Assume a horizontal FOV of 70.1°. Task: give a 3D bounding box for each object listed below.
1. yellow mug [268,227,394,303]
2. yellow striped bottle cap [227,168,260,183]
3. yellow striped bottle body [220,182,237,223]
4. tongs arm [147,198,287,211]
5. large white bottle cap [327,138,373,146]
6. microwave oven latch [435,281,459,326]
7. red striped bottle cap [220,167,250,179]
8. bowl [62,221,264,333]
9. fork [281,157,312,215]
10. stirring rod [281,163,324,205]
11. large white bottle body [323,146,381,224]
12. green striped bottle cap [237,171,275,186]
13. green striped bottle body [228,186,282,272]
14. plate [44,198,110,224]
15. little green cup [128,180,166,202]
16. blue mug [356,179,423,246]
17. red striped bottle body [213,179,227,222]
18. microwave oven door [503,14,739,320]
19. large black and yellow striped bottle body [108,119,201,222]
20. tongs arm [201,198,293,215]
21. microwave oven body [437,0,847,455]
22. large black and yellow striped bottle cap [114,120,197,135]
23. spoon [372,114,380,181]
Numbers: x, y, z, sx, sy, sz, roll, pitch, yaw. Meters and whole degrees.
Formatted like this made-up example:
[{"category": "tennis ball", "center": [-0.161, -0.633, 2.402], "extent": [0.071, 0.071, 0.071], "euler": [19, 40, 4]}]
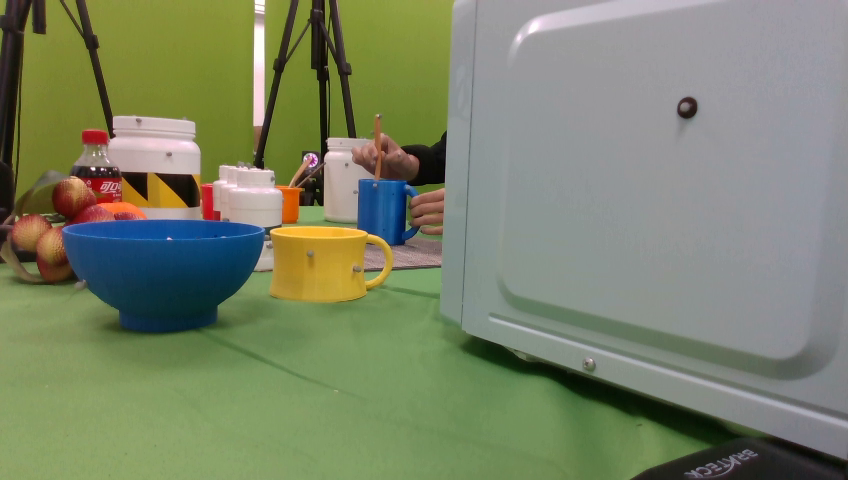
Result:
[{"category": "yellow mug", "center": [-0.094, 0.023, 0.629], "extent": [0.131, 0.064, 0.099], "euler": [0, 6, -22]}, {"category": "yellow striped bottle cap", "center": [-0.243, -0.087, 0.818], "extent": [0.044, 0.018, 0.044], "euler": [3, 6, 0]}, {"category": "yellow striped bottle body", "center": [-0.246, -0.036, 0.825], "extent": [0.063, 0.120, 0.063], "euler": [3, 8, 0]}, {"category": "tongs arm", "center": [-0.504, -0.091, 1.513], "extent": [0.028, 0.028, 0.389], "euler": [0, 4, 37]}, {"category": "large white bottle cap", "center": [-0.160, -0.218, 1.357], "extent": [0.115, 0.018, 0.115], "euler": [2, 8, 0]}, {"category": "microwave oven latch", "center": [0.044, 0.046, 0.470], "extent": [0.079, 0.029, 0.030], "euler": [-3, 8, -40]}, {"category": "red striped bottle cap", "center": [-0.281, -0.100, 0.901], "extent": [0.044, 0.017, 0.044], "euler": [-1, 5, 0]}, {"category": "bowl", "center": [-0.209, 0.029, 0.496], "extent": [0.151, 0.077, 0.151], "euler": [2, 7, 0]}, {"category": "fork", "center": [-0.289, -0.116, 1.321], "extent": [0.028, 0.019, 0.207], "euler": [6, 51, 19]}, {"category": "stirring rod", "center": [-0.278, -0.105, 1.293], "extent": [0.176, 0.006, 0.014], "euler": [-47, 25, -18]}, {"category": "large white bottle body", "center": [-0.163, -0.134, 1.369], "extent": [0.131, 0.184, 0.130], "euler": [2, 8, 0]}, {"category": "green striped bottle cap", "center": [-0.205, -0.075, 0.738], "extent": [0.044, 0.020, 0.044], "euler": [1, 8, 0]}, {"category": "green striped bottle body", "center": [-0.208, -0.023, 0.745], "extent": [0.063, 0.119, 0.063], "euler": [3, 7, 0]}, {"category": "plate", "center": [-0.617, -0.056, 1.179], "extent": [0.209, 0.038, 0.209], "euler": [3, 7, 0]}, {"category": "little green cup", "center": [-0.485, -0.087, 1.062], "extent": [0.061, 0.038, 0.061], "euler": [-1, 6, 0]}, {"category": "blue mug", "center": [-0.056, -0.046, 1.005], "extent": [0.116, 0.106, 0.082], "euler": [5, 8, 21]}, {"category": "red striped bottle body", "center": [-0.284, -0.048, 0.909], "extent": [0.063, 0.119, 0.063], "euler": [3, 10, 0]}, {"category": "microwave oven door", "center": [0.218, -0.065, 0.600], "extent": [0.358, 0.243, 0.039], "euler": [-4, 10, -41]}, {"category": "large black and yellow striped bottle body", "center": [-0.412, -0.088, 0.930], "extent": [0.131, 0.184, 0.130], "euler": [3, 7, 0]}, {"category": "tongs arm", "center": [-0.423, -0.084, 1.472], "extent": [0.050, 0.026, 0.386], "euler": [2, 6, 21]}, {"category": "microwave oven body", "center": [0.279, -0.040, 0.464], "extent": [0.444, 0.260, 0.324], "euler": [-3, 8, -41]}, {"category": "large black and yellow striped bottle cap", "center": [-0.407, -0.171, 0.920], "extent": [0.115, 0.019, 0.115], "euler": [2, 9, 0]}, {"category": "spoon", "center": [-0.084, -0.113, 1.004], "extent": [0.022, 0.193, 0.041], "euler": [8, -6, -27]}]
